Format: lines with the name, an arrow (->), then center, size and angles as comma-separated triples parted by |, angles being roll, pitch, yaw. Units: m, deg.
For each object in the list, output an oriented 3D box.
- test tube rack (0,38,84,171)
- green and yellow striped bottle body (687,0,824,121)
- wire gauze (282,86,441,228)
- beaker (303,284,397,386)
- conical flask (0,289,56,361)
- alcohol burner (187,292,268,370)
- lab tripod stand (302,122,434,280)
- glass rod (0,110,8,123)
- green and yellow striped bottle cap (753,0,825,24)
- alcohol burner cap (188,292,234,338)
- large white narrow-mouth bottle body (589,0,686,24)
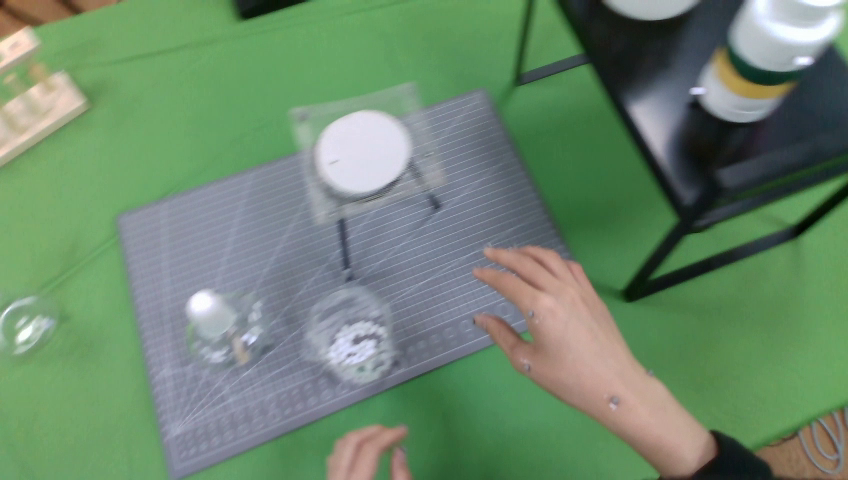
test tube rack -> -0.532, -0.116, 0.689 | 0.242, 0.086, 0.066 | -41, 71, -15
green and yellow striped bottle body -> 0.254, -0.150, 0.464 | 0.063, 0.120, 0.062 | -1, 66, 2
wire gauze -> -0.059, -0.082, 0.556 | 0.121, 0.011, 0.124 | -16, 67, -7
beaker -> -0.067, 0.096, 0.571 | 0.084, 0.101, 0.073 | -32, 68, -11
conical flask -> -0.426, 0.068, 0.585 | 0.075, 0.123, 0.075 | -1, 66, 2
alcohol burner -> -0.191, 0.081, 0.574 | 0.078, 0.120, 0.077 | 0, 64, 1
lab tripod stand -> -0.062, -0.048, 0.615 | 0.148, 0.132, 0.147 | 0, 64, 1
glass rod -> -0.503, -0.190, 0.648 | 0.008, 0.201, 0.008 | 1, 63, -2
green and yellow striped bottle cap -> 0.253, -0.172, 0.416 | 0.045, 0.020, 0.045 | -1, 67, 3
alcohol burner cap -> -0.193, 0.064, 0.542 | 0.034, 0.048, 0.033 | -1, 59, 1
large white narrow-mouth bottle body -> 0.192, -0.276, 0.481 | 0.102, 0.196, 0.101 | -1, 64, 2
